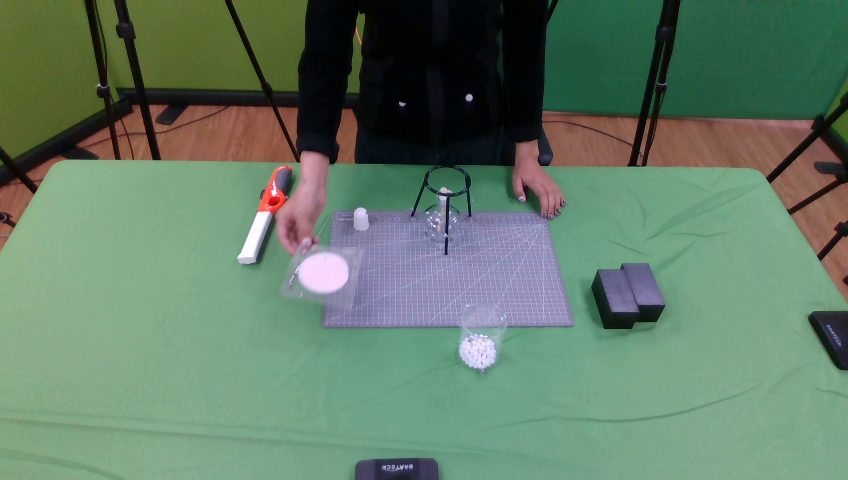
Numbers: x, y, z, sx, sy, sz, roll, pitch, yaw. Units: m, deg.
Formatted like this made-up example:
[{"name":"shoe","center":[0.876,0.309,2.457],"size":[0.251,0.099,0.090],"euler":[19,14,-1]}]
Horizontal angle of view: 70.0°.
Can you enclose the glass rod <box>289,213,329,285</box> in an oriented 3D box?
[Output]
[{"name":"glass rod","center":[-0.221,0.014,1.179],"size":[0.008,0.008,0.199],"euler":[12,47,8]}]

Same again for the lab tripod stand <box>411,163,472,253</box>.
[{"name":"lab tripod stand","center":[0.043,-0.069,1.187],"size":[0.148,0.132,0.147],"euler":[3,47,-3]}]

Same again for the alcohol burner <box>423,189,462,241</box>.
[{"name":"alcohol burner","center":[0.036,-0.055,1.187],"size":[0.078,0.120,0.077],"euler":[1,48,-1]}]

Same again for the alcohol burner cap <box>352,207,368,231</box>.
[{"name":"alcohol burner cap","center":[-0.128,-0.045,1.215],"size":[0.034,0.048,0.033],"euler":[3,46,-3]}]

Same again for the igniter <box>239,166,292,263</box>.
[{"name":"igniter","center":[-0.318,-0.060,1.230],"size":[0.057,0.025,0.275],"euler":[-2,45,10]}]

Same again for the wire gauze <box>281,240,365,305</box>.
[{"name":"wire gauze","center":[-0.171,0.051,1.043],"size":[0.125,0.011,0.121],"euler":[8,52,4]}]

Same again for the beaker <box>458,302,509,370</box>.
[{"name":"beaker","center":[0.092,0.159,0.999],"size":[0.083,0.101,0.074],"euler":[35,53,28]}]
